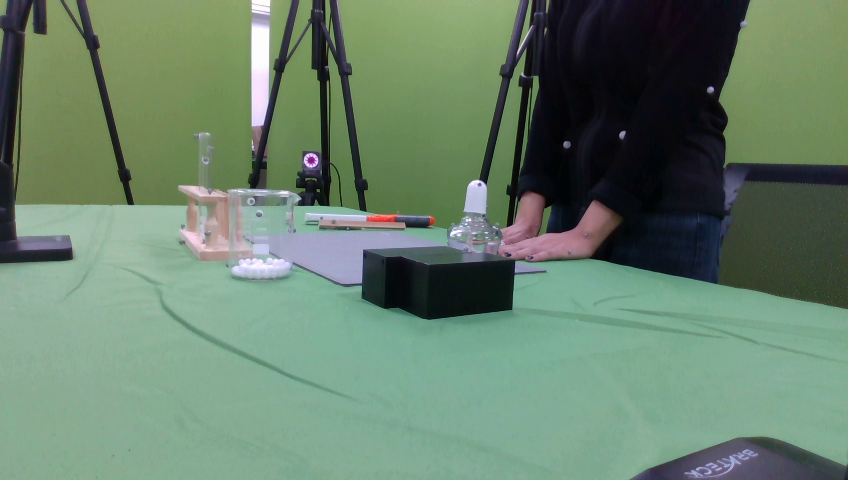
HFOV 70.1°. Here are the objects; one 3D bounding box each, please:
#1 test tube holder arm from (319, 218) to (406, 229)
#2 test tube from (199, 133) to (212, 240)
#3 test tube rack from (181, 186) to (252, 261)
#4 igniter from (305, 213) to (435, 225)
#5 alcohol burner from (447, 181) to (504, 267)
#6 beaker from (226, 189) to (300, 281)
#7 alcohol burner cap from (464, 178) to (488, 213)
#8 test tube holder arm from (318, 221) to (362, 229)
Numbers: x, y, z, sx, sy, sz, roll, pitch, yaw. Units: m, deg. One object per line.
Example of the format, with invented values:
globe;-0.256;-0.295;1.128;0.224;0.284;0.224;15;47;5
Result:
test tube holder arm;-0.122;-0.032;1.214;0.179;0.015;0.013;1;-24;-21
test tube;-0.306;-0.075;0.847;0.017;0.150;0.017;0;0;0
test tube rack;-0.312;-0.031;0.893;0.067;0.085;0.241;-1;8;-27
igniter;-0.114;-0.046;1.299;0.277;0.025;0.057;1;-3;-12
alcohol burner;0.070;-0.024;0.828;0.078;0.119;0.078;0;6;0
beaker;-0.184;-0.007;0.694;0.084;0.100;0.073;-1;8;-29
alcohol burner cap;0.073;-0.060;0.824;0.034;0.048;0.034;6;3;0
test tube holder arm;-0.166;-0.030;1.203;0.088;0.015;0.010;0;-24;-20
